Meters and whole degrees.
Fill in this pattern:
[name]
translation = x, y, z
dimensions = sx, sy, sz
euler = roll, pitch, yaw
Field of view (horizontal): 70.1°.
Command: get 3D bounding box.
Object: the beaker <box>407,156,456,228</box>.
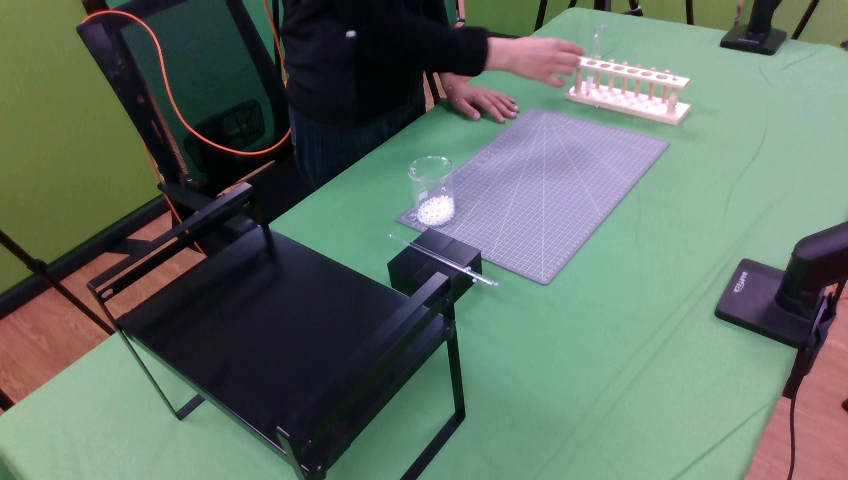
[beaker]
translation = 0.017, -0.079, 1.002
dimensions = 0.073, 0.101, 0.084
euler = 26, 50, 33

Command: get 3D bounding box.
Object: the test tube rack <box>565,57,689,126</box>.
[test tube rack]
translation = 0.412, -0.311, 1.231
dimensions = 0.240, 0.085, 0.067
euler = 24, 49, 32

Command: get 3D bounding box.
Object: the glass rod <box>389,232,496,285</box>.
[glass rod]
translation = 0.022, 0.025, 0.878
dimensions = 0.198, 0.008, 0.008
euler = 25, 50, 33

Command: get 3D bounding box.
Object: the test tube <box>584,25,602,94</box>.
[test tube]
translation = 0.341, -0.362, 1.225
dimensions = 0.017, 0.151, 0.017
euler = -2, 47, 2
